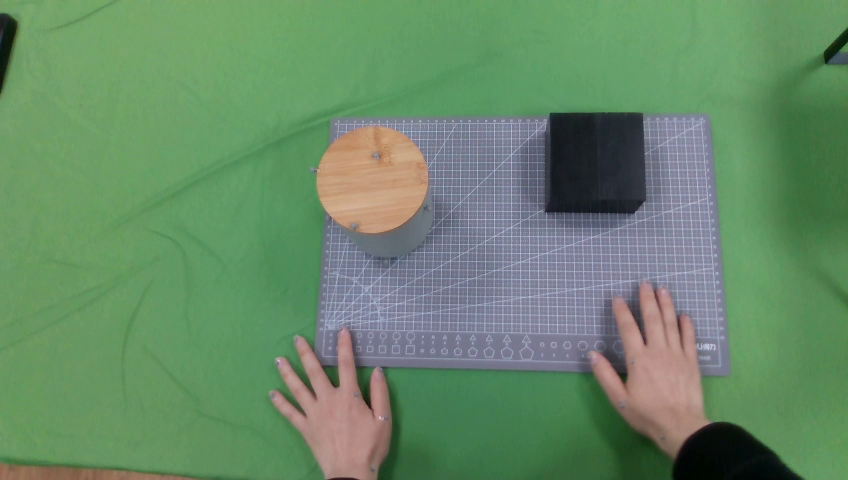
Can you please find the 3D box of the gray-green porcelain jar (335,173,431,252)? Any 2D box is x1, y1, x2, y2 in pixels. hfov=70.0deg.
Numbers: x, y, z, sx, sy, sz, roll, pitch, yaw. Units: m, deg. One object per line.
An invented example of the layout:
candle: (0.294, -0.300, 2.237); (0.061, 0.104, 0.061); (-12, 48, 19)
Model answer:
gray-green porcelain jar: (-0.046, -0.047, 0.646); (0.106, 0.127, 0.105); (-1, 76, 3)

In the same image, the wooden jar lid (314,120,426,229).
wooden jar lid: (-0.051, -0.062, 0.586); (0.108, 0.021, 0.108); (0, 80, 2)
